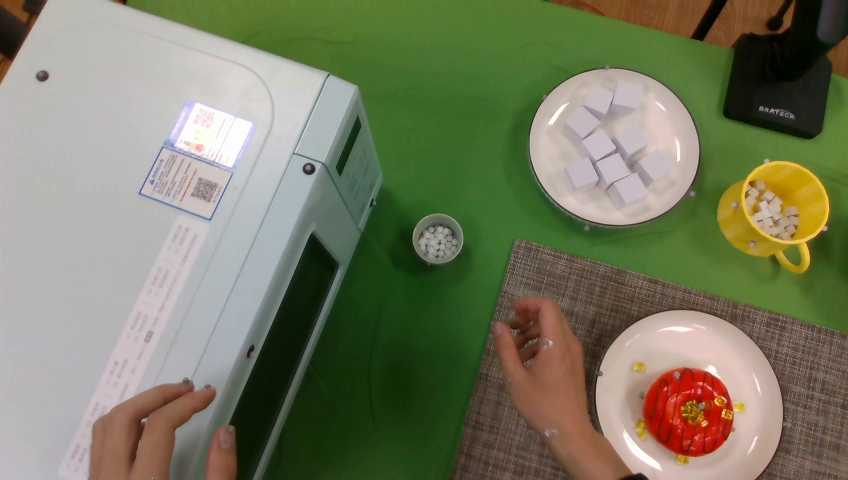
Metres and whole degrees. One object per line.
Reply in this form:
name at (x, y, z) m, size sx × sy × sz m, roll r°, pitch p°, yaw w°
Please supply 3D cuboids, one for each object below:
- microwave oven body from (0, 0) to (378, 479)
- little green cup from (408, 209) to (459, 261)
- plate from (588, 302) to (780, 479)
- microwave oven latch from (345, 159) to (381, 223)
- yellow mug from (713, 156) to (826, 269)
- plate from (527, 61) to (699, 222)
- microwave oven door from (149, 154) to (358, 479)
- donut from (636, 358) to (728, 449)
microwave oven body at (-0.280, 0.029, 0.612) m, size 0.325 × 0.261 × 0.440 m, roll 20°, pitch 79°, yaw 5°
little green cup at (0.012, -0.003, 0.731) m, size 0.061 × 0.039 × 0.061 m, roll 0°, pitch 80°, yaw 2°
plate at (0.287, 0.175, 0.683) m, size 0.209 × 0.038 × 0.208 m, roll 0°, pitch 78°, yaw 1°
microwave oven latch at (-0.078, -0.063, 0.727) m, size 0.030 × 0.029 × 0.079 m, roll 22°, pitch 80°, yaw 5°
yellow mug at (0.412, -0.027, 0.715) m, size 0.100 × 0.064 × 0.130 m, roll -20°, pitch 79°, yaw -3°
plate at (0.230, -0.119, 0.753) m, size 0.208 × 0.039 × 0.206 m, roll 0°, pitch 78°, yaw 1°
microwave oven door at (-0.159, 0.116, 0.586) m, size 0.039 × 0.245 × 0.354 m, roll 19°, pitch 78°, yaw 6°
donut at (0.285, 0.181, 0.671) m, size 0.099 × 0.048 × 0.098 m, roll 0°, pitch 81°, yaw 3°
